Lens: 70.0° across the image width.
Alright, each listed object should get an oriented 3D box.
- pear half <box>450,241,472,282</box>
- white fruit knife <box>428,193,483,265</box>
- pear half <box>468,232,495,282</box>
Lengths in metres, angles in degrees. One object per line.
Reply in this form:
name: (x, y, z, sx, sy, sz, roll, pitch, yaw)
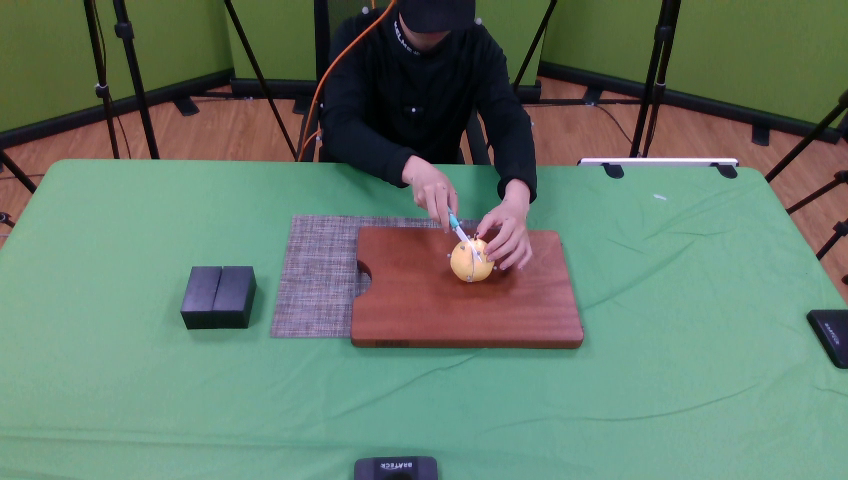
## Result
pear half: (0.063, 0.038, 1.083, 0.031, 0.088, 0.070, -17, 51, -14)
white fruit knife: (0.056, -0.024, 1.097, 0.016, 0.027, 0.206, -18, 47, -19)
pear half: (0.100, 0.024, 1.085, 0.056, 0.110, 0.076, -13, 52, -17)
